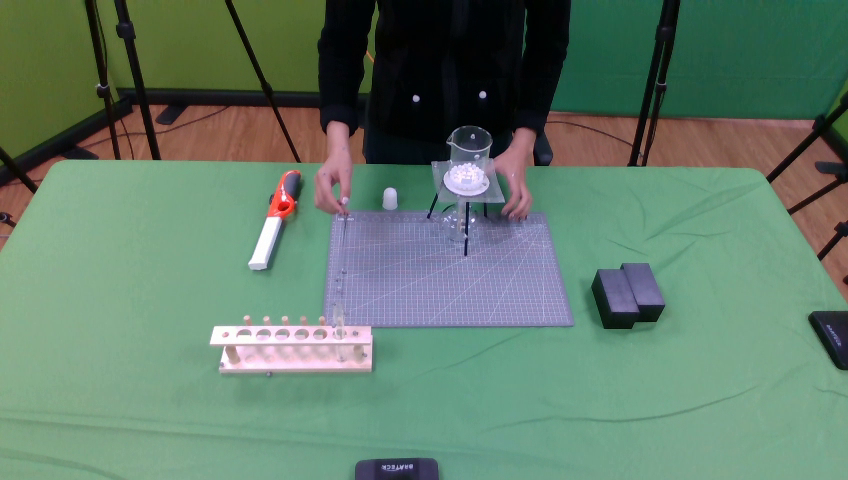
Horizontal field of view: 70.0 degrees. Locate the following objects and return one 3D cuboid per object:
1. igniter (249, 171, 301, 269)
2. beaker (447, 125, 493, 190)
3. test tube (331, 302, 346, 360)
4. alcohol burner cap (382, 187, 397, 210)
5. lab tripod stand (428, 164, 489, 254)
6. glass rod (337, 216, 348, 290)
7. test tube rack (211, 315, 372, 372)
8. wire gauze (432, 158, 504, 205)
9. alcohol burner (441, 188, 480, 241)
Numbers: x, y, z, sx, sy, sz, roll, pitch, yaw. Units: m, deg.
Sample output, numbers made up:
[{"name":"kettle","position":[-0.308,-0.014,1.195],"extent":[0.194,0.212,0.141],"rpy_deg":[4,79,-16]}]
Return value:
[{"name":"igniter","position":[-0.297,-0.049,1.221],"extent":[0.057,0.025,0.275],"rpy_deg":[-2,45,9]},{"name":"beaker","position":[0.079,-0.148,1.106],"extent":[0.084,0.101,0.073],"rpy_deg":[-3,47,-7]},{"name":"test tube","position":[-0.132,0.144,0.938],"extent":[0.017,0.151,0.017],"rpy_deg":[2,49,-3]},{"name":"alcohol burner cap","position":[-0.072,-0.090,1.267],"extent":[0.034,0.048,0.033],"rpy_deg":[2,46,-2]},{"name":"lab tripod stand","position":[0.078,-0.068,1.188],"extent":[0.148,0.132,0.147],"rpy_deg":[3,47,-3]},{"name":"glass rod","position":[-0.158,0.021,1.171],"extent":[0.008,0.008,0.198],"rpy_deg":[1,44,-2]},{"name":"test tube rack","position":[-0.208,0.163,0.982],"extent":[0.242,0.085,0.066],"rpy_deg":[1,46,-4]},{"name":"wire gauze","position":[0.081,-0.111,1.138],"extent":[0.125,0.011,0.120],"rpy_deg":[0,48,-7]},{"name":"alcohol burner","position":[0.073,-0.055,1.189],"extent":[0.078,0.120,0.077],"rpy_deg":[1,48,-1]}]
